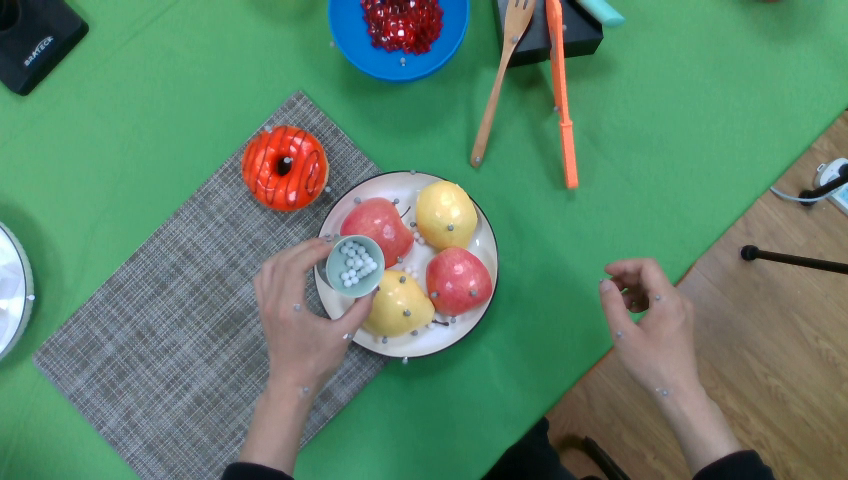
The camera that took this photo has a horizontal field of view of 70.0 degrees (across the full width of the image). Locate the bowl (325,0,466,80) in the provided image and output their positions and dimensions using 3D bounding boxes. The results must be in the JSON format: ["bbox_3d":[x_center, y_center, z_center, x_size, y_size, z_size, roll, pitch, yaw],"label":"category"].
[{"bbox_3d":[-0.028,-0.243,0.673,0.151,0.077,0.151,0,89,2],"label":"bowl"}]

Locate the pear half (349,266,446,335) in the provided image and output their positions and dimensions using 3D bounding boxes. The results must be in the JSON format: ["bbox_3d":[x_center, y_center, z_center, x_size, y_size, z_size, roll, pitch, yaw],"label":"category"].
[{"bbox_3d":[-0.026,0.072,0.665,0.110,0.056,0.076,18,94,-1],"label":"pear half"}]

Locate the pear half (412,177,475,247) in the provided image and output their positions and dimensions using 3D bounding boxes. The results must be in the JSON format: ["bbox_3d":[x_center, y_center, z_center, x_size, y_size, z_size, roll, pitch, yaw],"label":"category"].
[{"bbox_3d":[0.018,-0.024,0.666,0.070,0.031,0.088,-14,99,25],"label":"pear half"}]

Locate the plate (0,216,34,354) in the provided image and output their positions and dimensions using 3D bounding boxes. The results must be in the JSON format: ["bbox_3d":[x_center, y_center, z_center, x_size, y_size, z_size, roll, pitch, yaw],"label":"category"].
[{"bbox_3d":[-0.553,0.055,0.708,0.207,0.039,0.207,0,88,3],"label":"plate"}]

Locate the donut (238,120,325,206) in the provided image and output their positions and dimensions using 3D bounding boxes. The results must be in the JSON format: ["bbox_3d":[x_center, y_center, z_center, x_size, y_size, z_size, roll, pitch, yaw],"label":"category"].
[{"bbox_3d":[-0.161,-0.086,0.687,0.099,0.048,0.099,0,90,5],"label":"donut"}]

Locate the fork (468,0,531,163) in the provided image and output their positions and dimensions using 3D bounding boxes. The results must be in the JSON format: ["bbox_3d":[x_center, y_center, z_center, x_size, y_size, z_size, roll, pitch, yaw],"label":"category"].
[{"bbox_3d":[0.080,-0.182,0.661,0.028,0.018,0.208,14,109,-4],"label":"fork"}]

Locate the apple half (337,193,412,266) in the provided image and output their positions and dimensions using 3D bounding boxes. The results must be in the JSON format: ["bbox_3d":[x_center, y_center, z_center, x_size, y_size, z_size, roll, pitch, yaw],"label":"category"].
[{"bbox_3d":[-0.057,-0.010,0.666,0.074,0.053,0.081,-27,91,3],"label":"apple half"}]

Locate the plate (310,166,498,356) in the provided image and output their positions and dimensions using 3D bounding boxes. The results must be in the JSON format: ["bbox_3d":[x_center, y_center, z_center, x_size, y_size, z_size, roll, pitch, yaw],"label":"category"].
[{"bbox_3d":[-0.022,0.023,0.680,0.209,0.038,0.209,0,88,3],"label":"plate"}]

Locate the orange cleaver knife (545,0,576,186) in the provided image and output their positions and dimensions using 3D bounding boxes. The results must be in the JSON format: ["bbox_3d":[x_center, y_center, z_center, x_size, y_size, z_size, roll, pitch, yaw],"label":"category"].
[{"bbox_3d":[0.147,-0.166,0.660,0.012,0.076,0.213,-9,113,7],"label":"orange cleaver knife"}]

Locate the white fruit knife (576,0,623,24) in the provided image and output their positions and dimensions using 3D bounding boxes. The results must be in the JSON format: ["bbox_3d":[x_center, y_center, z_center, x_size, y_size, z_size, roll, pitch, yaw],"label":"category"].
[{"bbox_3d":[0.132,-0.304,0.649,0.207,0.016,0.027,46,62,5],"label":"white fruit knife"}]

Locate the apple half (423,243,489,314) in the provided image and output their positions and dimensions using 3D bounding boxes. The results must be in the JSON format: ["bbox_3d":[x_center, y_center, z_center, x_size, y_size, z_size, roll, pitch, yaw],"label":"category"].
[{"bbox_3d":[0.027,0.044,0.660,0.081,0.033,0.081,5,104,21],"label":"apple half"}]

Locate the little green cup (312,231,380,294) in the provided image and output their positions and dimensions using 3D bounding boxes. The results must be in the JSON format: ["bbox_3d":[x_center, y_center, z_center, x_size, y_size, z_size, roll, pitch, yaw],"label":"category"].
[{"bbox_3d":[-0.079,0.020,0.593,0.062,0.038,0.061,-6,101,-32],"label":"little green cup"}]
